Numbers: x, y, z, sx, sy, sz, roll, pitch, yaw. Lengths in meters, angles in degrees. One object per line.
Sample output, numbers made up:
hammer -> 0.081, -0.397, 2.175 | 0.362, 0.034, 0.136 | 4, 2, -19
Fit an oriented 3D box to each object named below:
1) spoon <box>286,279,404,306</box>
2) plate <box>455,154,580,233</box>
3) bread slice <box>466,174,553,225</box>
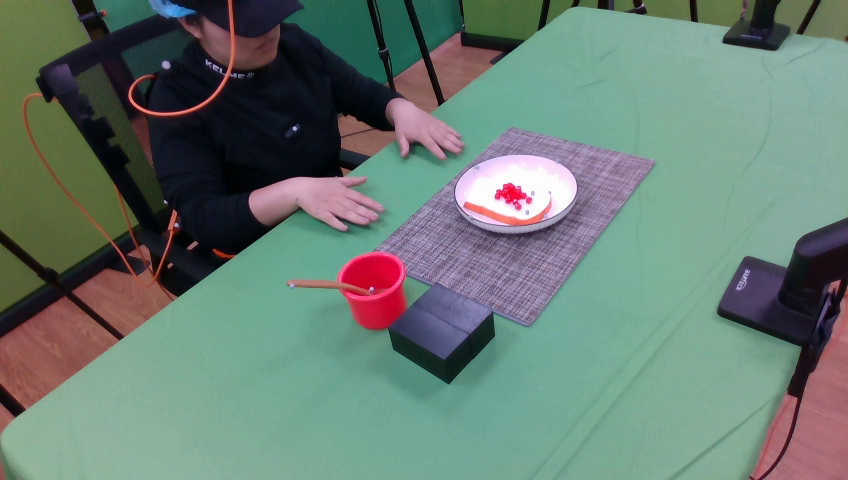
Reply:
spoon -> -0.104, 0.068, 0.832 | 0.195, 0.021, 0.041 | 17, 21, -43
plate -> 0.158, -0.076, 1.028 | 0.209, 0.038, 0.208 | -5, 40, 5
bread slice -> 0.152, -0.067, 1.022 | 0.130, 0.019, 0.105 | 23, 50, 33
